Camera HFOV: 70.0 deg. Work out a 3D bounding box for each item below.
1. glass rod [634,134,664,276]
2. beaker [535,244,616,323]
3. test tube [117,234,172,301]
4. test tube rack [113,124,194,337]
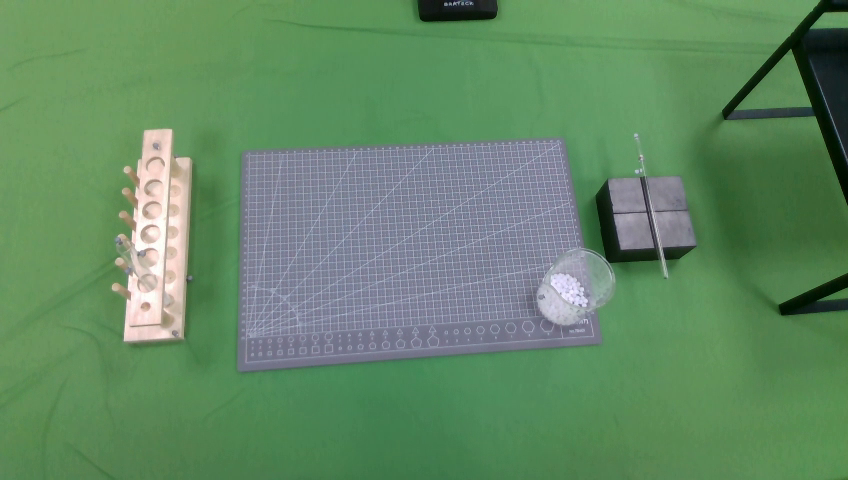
[{"bbox_3d":[0.290,-0.049,0.782,0.008,0.008,0.198,-1,70,-4],"label":"glass rod"},{"bbox_3d":[0.176,0.057,0.735,0.084,0.101,0.073,-2,69,-4],"label":"beaker"},{"bbox_3d":[-0.303,0.034,0.664,0.017,0.151,0.017,3,62,-5],"label":"test tube"},{"bbox_3d":[-0.329,-0.012,0.731,0.067,0.085,0.240,-3,70,-5],"label":"test tube rack"}]
